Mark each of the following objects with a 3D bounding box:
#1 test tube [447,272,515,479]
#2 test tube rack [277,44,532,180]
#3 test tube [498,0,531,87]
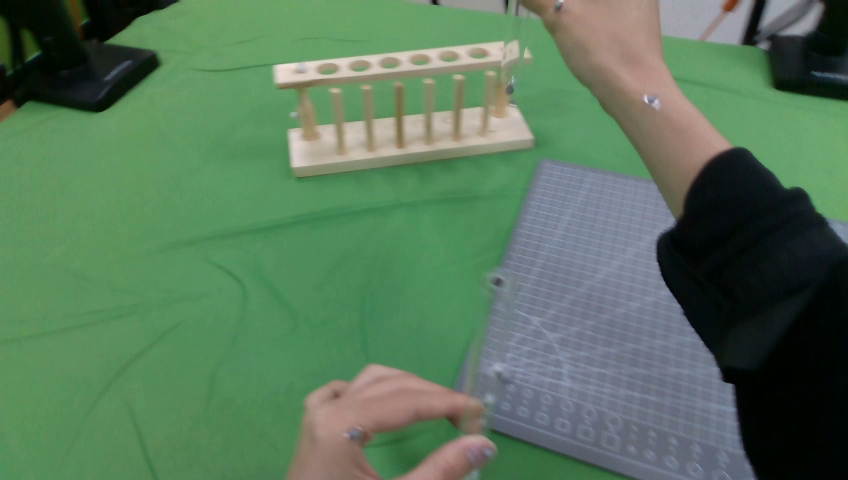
[{"bbox_3d":[0.024,0.075,0.286,0.017,0.152,0.017,3,38,-2],"label":"test tube"},{"bbox_3d":[-0.014,-0.128,0.598,0.243,0.086,0.066,-8,45,-8],"label":"test tube rack"},{"bbox_3d":[0.064,-0.169,0.393,0.017,0.151,0.017,1,44,-1],"label":"test tube"}]
